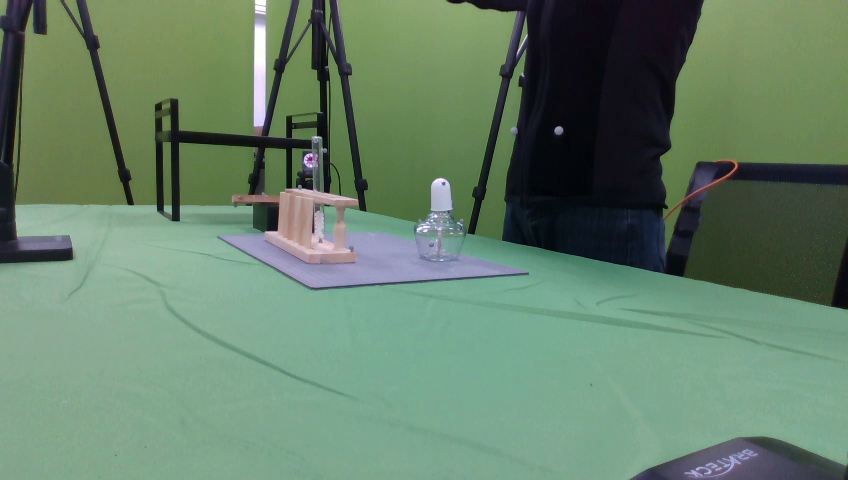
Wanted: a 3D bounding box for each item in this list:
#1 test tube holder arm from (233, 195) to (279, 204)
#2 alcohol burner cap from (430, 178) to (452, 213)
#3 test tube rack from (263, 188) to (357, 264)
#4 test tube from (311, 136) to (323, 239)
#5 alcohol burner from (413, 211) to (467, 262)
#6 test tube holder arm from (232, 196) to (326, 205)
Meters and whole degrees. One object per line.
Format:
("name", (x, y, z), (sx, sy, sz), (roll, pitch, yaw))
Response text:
("test tube holder arm", (-0.307, -0.075, 1.117), (0.088, 0.015, 0.010), (-1, 1, -31))
("alcohol burner cap", (0.024, -0.064, 0.859), (0.034, 0.048, 0.034), (-1, 12, 1))
("test tube rack", (-0.175, -0.027, 0.890), (0.067, 0.085, 0.241), (0, 8, -28))
("test tube", (-0.155, -0.076, 0.879), (0.017, 0.150, 0.017), (0, 7, 0))
("alcohol burner", (0.023, -0.029, 0.864), (0.078, 0.119, 0.078), (1, 6, 0))
("test tube holder arm", (-0.271, -0.076, 1.145), (0.179, 0.015, 0.013), (-1, 1, -32))
